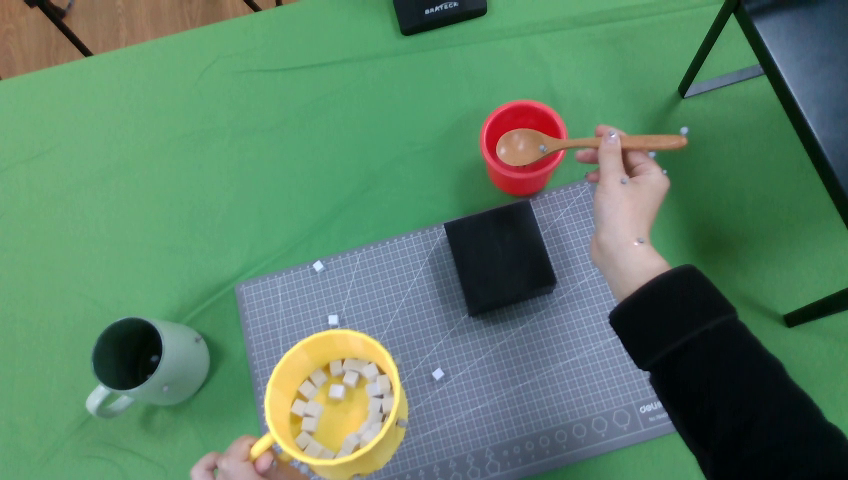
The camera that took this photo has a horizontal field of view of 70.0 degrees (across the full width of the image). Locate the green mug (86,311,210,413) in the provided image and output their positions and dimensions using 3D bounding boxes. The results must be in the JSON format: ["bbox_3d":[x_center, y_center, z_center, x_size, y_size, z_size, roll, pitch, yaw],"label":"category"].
[{"bbox_3d":[-0.307,0.137,0.658,0.092,0.105,0.125,40,80,14],"label":"green mug"}]

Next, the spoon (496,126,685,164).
[{"bbox_3d":[0.148,-0.091,0.572,0.192,0.022,0.041,8,78,47],"label":"spoon"}]

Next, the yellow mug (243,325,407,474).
[{"bbox_3d":[-0.078,0.132,0.463,0.131,0.064,0.099,-34,63,-14],"label":"yellow mug"}]
